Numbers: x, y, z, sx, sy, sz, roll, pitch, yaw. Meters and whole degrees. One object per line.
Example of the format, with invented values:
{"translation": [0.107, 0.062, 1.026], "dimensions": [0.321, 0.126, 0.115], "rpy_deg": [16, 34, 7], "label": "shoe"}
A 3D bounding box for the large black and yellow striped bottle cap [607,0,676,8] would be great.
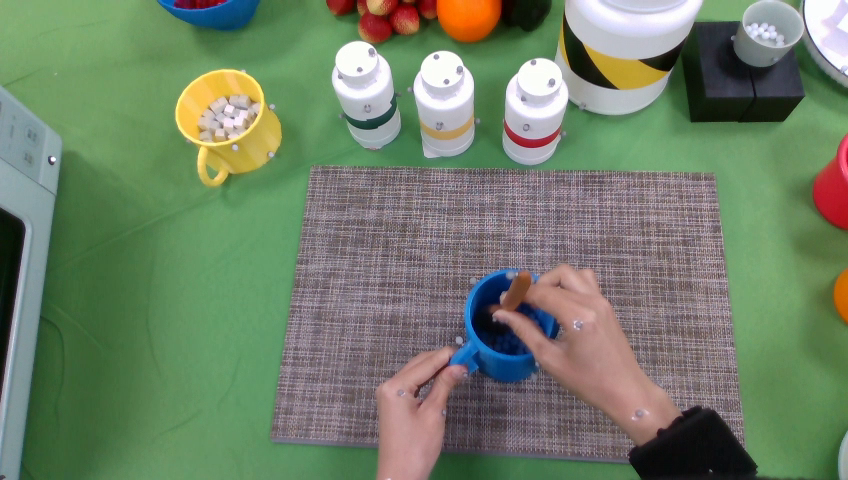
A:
{"translation": [0.200, -0.264, 0.557], "dimensions": [0.115, 0.019, 0.114], "rpy_deg": [-2, 68, 5], "label": "large black and yellow striped bottle cap"}

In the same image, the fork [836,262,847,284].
{"translation": [0.459, 0.063, 0.520], "dimensions": [0.028, 0.019, 0.205], "rpy_deg": [-36, 26, -8], "label": "fork"}

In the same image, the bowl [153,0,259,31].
{"translation": [-0.263, -0.319, 0.761], "dimensions": [0.151, 0.077, 0.150], "rpy_deg": [-1, 69, 4], "label": "bowl"}

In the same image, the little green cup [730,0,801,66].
{"translation": [0.358, -0.217, 0.641], "dimensions": [0.061, 0.039, 0.061], "rpy_deg": [-1, 67, 2], "label": "little green cup"}

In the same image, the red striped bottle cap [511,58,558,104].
{"translation": [0.108, -0.155, 0.591], "dimensions": [0.044, 0.018, 0.044], "rpy_deg": [0, 68, 0], "label": "red striped bottle cap"}

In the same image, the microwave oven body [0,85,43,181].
{"translation": [-0.577, 0.051, 0.542], "dimensions": [0.326, 0.262, 0.438], "rpy_deg": [-7, 69, 1], "label": "microwave oven body"}

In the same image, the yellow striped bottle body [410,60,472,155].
{"translation": [0.020, -0.148, 0.651], "dimensions": [0.063, 0.121, 0.062], "rpy_deg": [-2, 68, 5], "label": "yellow striped bottle body"}

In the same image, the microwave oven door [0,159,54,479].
{"translation": [-0.428, 0.070, 0.517], "dimensions": [0.039, 0.245, 0.353], "rpy_deg": [-7, 68, 2], "label": "microwave oven door"}

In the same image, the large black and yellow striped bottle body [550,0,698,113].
{"translation": [0.207, -0.235, 0.636], "dimensions": [0.131, 0.185, 0.130], "rpy_deg": [-2, 69, 4], "label": "large black and yellow striped bottle body"}

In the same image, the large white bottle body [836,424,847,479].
{"translation": [0.427, 0.178, 0.459], "dimensions": [0.130, 0.186, 0.129], "rpy_deg": [-2, 68, 4], "label": "large white bottle body"}

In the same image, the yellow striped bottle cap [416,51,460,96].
{"translation": [0.014, -0.166, 0.602], "dimensions": [0.044, 0.019, 0.044], "rpy_deg": [0, 66, 0], "label": "yellow striped bottle cap"}

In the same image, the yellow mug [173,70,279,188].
{"translation": [-0.229, -0.121, 0.689], "dimensions": [0.100, 0.064, 0.130], "rpy_deg": [11, 71, 9], "label": "yellow mug"}

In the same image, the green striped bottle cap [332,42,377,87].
{"translation": [-0.071, -0.179, 0.614], "dimensions": [0.044, 0.020, 0.044], "rpy_deg": [-2, 67, 4], "label": "green striped bottle cap"}

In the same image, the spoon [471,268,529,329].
{"translation": [0.067, 0.053, 0.505], "dimensions": [0.041, 0.194, 0.021], "rpy_deg": [12, 76, 2], "label": "spoon"}

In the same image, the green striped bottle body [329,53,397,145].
{"translation": [-0.066, -0.160, 0.662], "dimensions": [0.063, 0.120, 0.062], "rpy_deg": [-1, 69, 4], "label": "green striped bottle body"}

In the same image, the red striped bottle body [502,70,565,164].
{"translation": [0.114, -0.135, 0.639], "dimensions": [0.063, 0.120, 0.062], "rpy_deg": [-3, 67, 6], "label": "red striped bottle body"}

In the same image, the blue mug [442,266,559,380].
{"translation": [0.064, 0.090, 0.560], "dimensions": [0.116, 0.106, 0.081], "rpy_deg": [-35, 69, -9], "label": "blue mug"}

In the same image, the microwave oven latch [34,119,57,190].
{"translation": [-0.441, -0.096, 0.691], "dimensions": [0.030, 0.030, 0.078], "rpy_deg": [-6, 69, 2], "label": "microwave oven latch"}

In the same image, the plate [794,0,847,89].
{"translation": [0.529, -0.243, 0.693], "dimensions": [0.209, 0.038, 0.207], "rpy_deg": [-1, 69, 4], "label": "plate"}
